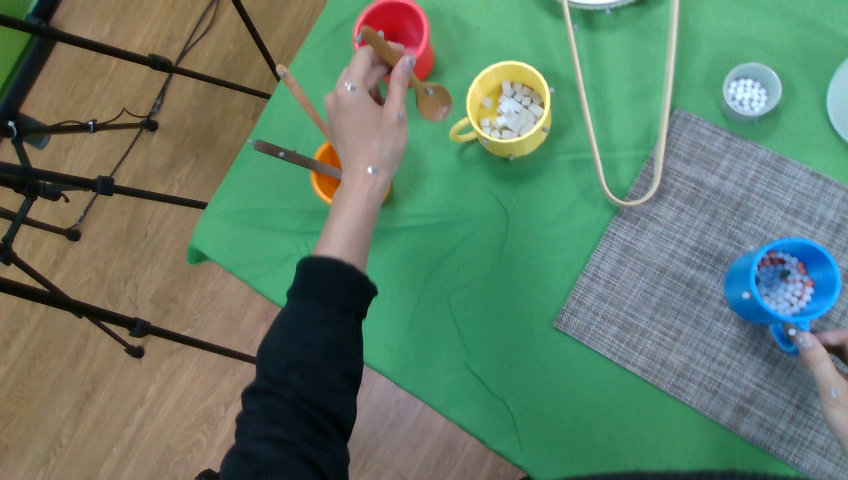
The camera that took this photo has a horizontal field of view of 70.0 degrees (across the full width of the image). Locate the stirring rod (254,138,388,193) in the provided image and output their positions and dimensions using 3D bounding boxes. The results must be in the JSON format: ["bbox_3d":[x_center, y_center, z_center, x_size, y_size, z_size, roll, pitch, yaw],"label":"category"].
[{"bbox_3d":[-0.123,-0.091,0.749,0.177,0.006,0.014,17,79,-27],"label":"stirring rod"}]

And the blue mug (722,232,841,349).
[{"bbox_3d":[0.372,0.056,0.632,0.082,0.106,0.116,-11,80,11],"label":"blue mug"}]

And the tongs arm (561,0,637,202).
[{"bbox_3d":[0.199,-0.232,0.727,0.051,0.026,0.384,-9,88,8],"label":"tongs arm"}]

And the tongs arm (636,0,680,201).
[{"bbox_3d":[0.282,-0.238,0.712,0.028,0.028,0.387,5,91,5],"label":"tongs arm"}]

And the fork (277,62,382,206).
[{"bbox_3d":[-0.115,-0.127,0.745,0.028,0.018,0.209,-32,120,4],"label":"fork"}]

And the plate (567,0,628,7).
[{"bbox_3d":[0.224,-0.388,0.762,0.207,0.039,0.207,-2,83,13],"label":"plate"}]

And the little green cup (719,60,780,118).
[{"bbox_3d":[0.373,-0.171,0.700,0.061,0.039,0.061,-2,83,12],"label":"little green cup"}]

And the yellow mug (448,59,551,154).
[{"bbox_3d":[0.091,-0.156,0.747,0.131,0.064,0.099,-23,79,10],"label":"yellow mug"}]

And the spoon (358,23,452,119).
[{"bbox_3d":[-0.014,-0.168,0.612,0.041,0.195,0.021,-46,69,9],"label":"spoon"}]

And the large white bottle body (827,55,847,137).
[{"bbox_3d":[0.503,-0.174,0.596,0.130,0.185,0.130,-2,82,13],"label":"large white bottle body"}]
